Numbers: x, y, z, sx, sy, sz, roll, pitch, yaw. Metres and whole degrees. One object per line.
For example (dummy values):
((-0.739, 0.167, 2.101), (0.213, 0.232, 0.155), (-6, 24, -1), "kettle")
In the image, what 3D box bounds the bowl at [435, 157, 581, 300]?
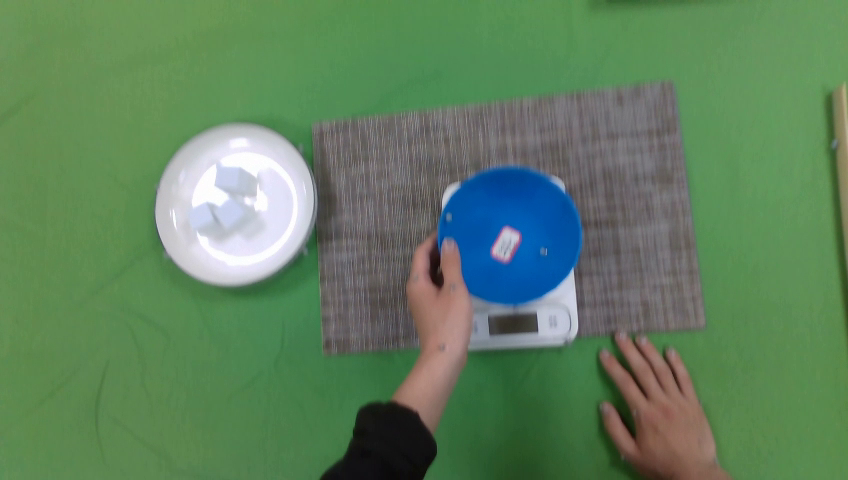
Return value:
((0.090, -0.008, 0.660), (0.151, 0.077, 0.151), (-1, 84, 6), "bowl")

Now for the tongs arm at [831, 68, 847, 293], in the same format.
((0.481, -0.001, 0.670), (0.028, 0.028, 0.386), (-3, 84, 5), "tongs arm")

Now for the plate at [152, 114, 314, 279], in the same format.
((-0.236, -0.053, 0.761), (0.207, 0.039, 0.207), (-1, 84, 7), "plate")

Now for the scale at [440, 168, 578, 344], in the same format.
((0.098, 0.018, 0.710), (0.148, 0.031, 0.200), (-5, 83, 7), "scale")
